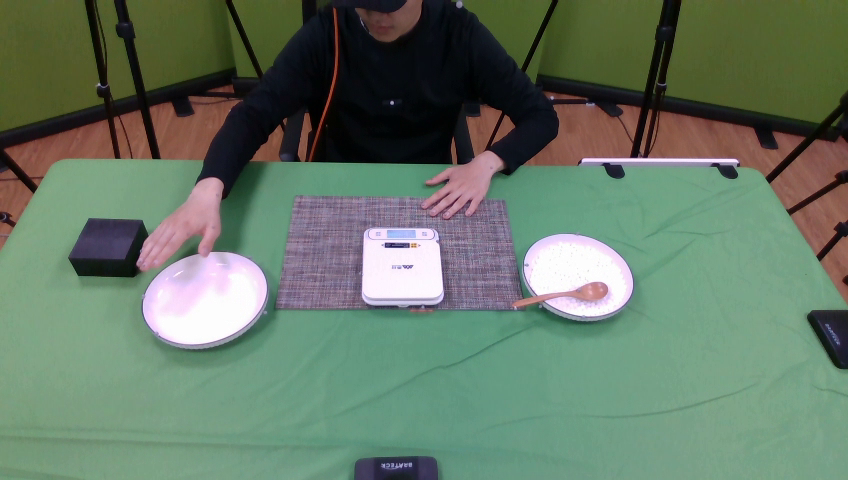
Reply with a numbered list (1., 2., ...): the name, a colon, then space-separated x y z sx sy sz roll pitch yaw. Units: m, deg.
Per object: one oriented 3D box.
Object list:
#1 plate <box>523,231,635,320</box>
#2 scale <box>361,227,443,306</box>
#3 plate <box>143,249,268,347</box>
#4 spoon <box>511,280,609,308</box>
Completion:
1. plate: 0.287 0.069 1.141 0.209 0.038 0.208 2 46 -2
2. scale: -0.042 0.040 1.143 0.149 0.032 0.199 0 46 -4
3. plate: -0.377 0.103 1.060 0.208 0.039 0.206 2 47 -2
4. spoon: 0.245 0.098 1.088 0.194 0.022 0.041 -5 47 -19
